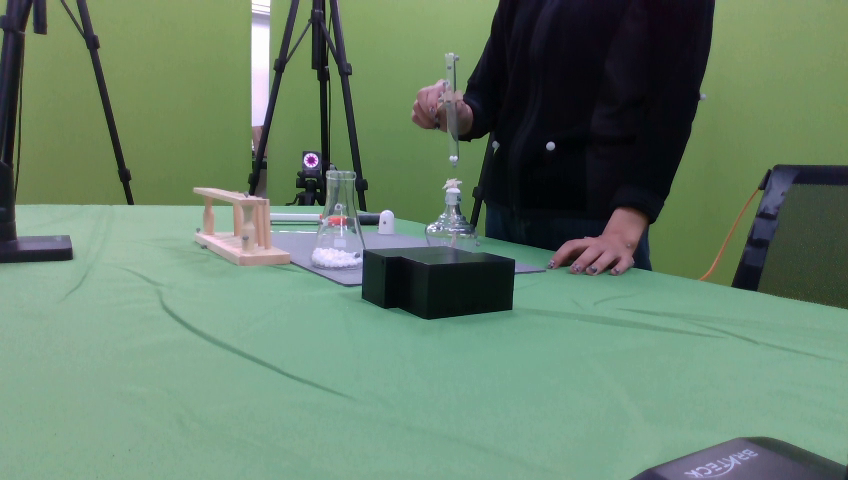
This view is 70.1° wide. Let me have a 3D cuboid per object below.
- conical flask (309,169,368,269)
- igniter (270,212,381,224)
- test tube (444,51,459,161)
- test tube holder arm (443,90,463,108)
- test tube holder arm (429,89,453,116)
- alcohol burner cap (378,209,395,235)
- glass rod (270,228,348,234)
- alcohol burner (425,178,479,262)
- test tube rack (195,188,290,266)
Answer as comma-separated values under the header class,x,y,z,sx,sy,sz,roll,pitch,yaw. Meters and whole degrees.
class,x,y,z,sx,sy,sz,roll,pitch,yaw
conical flask,-0.107,-0.028,0.762,0.075,0.122,0.075,2,7,0
igniter,-0.213,-0.048,1.278,0.278,0.025,0.057,-1,-2,-24
test tube,0.039,-0.186,0.844,0.017,0.150,0.017,-3,4,0
test tube holder arm,0.038,-0.202,0.867,0.010,0.015,0.087,1,4,-16
test tube holder arm,0.023,-0.205,0.909,0.013,0.015,0.178,2,4,-9
alcohol burner cap,-0.070,-0.035,1.144,0.034,0.048,0.034,2,8,0
glass rod,-0.234,-0.017,1.105,0.201,0.008,0.008,1,7,-26
alcohol burner,0.040,-0.029,0.853,0.078,0.119,0.078,2,10,0
test tube rack,-0.266,-0.025,0.864,0.067,0.085,0.241,-2,9,-33
